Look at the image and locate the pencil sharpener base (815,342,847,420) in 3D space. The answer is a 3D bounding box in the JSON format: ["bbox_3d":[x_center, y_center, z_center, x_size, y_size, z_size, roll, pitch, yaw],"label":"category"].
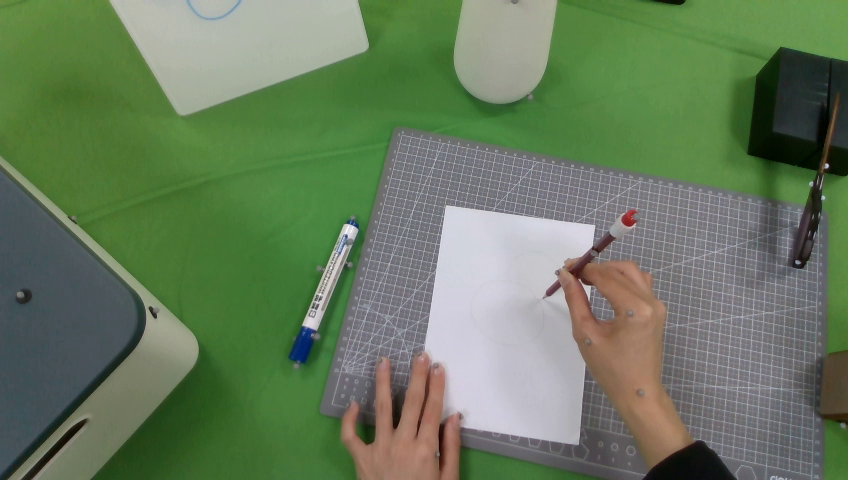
[{"bbox_3d":[0.399,0.122,0.509,0.077,0.107,0.061,16,72,1],"label":"pencil sharpener base"}]

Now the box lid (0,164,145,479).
[{"bbox_3d":[-0.408,0.033,0.426,0.370,0.015,0.263,38,76,10],"label":"box lid"}]

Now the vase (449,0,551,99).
[{"bbox_3d":[0.074,-0.220,0.567,0.098,0.201,0.097,0,71,1],"label":"vase"}]

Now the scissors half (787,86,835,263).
[{"bbox_3d":[0.375,-0.063,0.583,0.012,0.040,0.175,14,92,29],"label":"scissors half"}]

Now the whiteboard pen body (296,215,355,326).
[{"bbox_3d":[-0.097,0.039,0.579,0.017,0.017,0.140,18,71,6],"label":"whiteboard pen body"}]

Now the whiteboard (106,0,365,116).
[{"bbox_3d":[-0.207,-0.310,0.570,0.217,0.308,0.142,-22,54,-6],"label":"whiteboard"}]

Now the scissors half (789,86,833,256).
[{"bbox_3d":[0.366,-0.068,0.565,0.013,0.040,0.174,14,75,24],"label":"scissors half"}]

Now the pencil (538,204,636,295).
[{"bbox_3d":[0.124,0.015,0.492,0.012,0.195,0.012,3,68,-7],"label":"pencil"}]

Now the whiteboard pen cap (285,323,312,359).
[{"bbox_3d":[-0.115,0.092,0.560,0.018,0.018,0.033,18,69,6],"label":"whiteboard pen cap"}]

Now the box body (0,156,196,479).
[{"bbox_3d":[-0.407,0.058,0.496,0.362,0.161,0.253,38,76,10],"label":"box body"}]

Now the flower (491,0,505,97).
[{"bbox_3d":[0.069,-0.259,0.492,0.044,0.365,0.038,5,55,5],"label":"flower"}]
